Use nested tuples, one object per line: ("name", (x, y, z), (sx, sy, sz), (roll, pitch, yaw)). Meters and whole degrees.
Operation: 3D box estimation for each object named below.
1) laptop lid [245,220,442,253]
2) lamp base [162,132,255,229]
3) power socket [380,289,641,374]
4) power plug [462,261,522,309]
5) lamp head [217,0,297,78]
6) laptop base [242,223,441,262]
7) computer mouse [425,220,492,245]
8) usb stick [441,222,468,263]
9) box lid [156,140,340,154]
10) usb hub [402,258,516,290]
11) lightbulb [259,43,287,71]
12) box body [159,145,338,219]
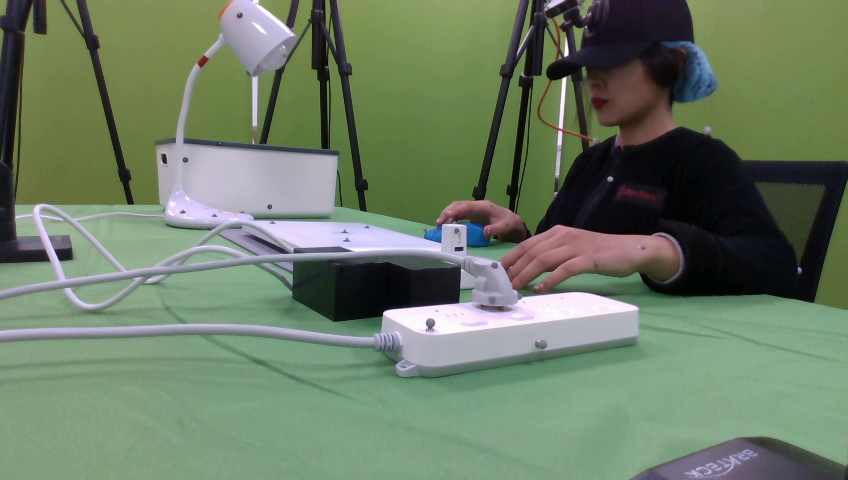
("laptop lid", (-0.124, -0.009, 0.945), (0.243, 0.013, 0.355), (1, 7, -29))
("lamp base", (-0.419, -0.116, 1.156), (0.179, 0.180, 0.160), (0, 7, 0))
("power socket", (0.072, 0.064, 0.461), (0.228, 0.032, 0.072), (-3, 7, -30))
("power plug", (0.043, 0.043, 0.444), (0.035, 0.052, 0.073), (-5, 8, 43))
("lamp head", (-0.315, -0.372, 1.102), (0.123, 0.112, 0.112), (41, 2, -9))
("laptop base", (-0.126, 0.003, 0.945), (0.237, 0.023, 0.352), (2, 6, -31))
("computer mouse", (0.060, -0.013, 1.060), (0.117, 0.041, 0.062), (-2, 9, -6))
("usb stick", (0.034, 0.009, 0.685), (0.021, 0.059, 0.027), (-3, 10, -31))
("box lid", (-0.409, -0.213, 1.404), (0.373, 0.015, 0.262), (-2, 8, -32))
("usb hub", (0.042, 0.038, 0.690), (0.126, 0.025, 0.049), (-2, 9, -29))
("lightbulb", (-0.295, -0.357, 1.102), (0.059, 0.107, 0.059), (-38, 1, 1))
("box body", (-0.410, -0.139, 1.414), (0.366, 0.160, 0.253), (-3, 8, -33))
